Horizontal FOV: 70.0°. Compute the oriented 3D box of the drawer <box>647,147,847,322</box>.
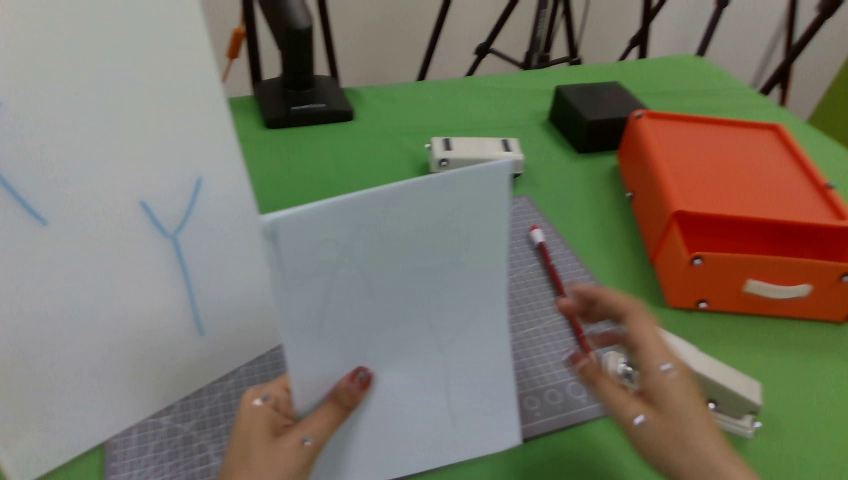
[{"bbox_3d":[0.336,-0.015,0.652,0.194,0.074,0.210,5,39,-1],"label":"drawer"}]

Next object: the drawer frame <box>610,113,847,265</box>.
[{"bbox_3d":[0.338,-0.056,0.699,0.202,0.083,0.211,4,39,-2],"label":"drawer frame"}]

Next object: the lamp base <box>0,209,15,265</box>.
[{"bbox_3d":[-0.469,-0.051,0.502,0.178,0.182,0.160,15,40,15],"label":"lamp base"}]

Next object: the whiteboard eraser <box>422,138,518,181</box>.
[{"bbox_3d":[0.056,-0.099,0.745,0.113,0.042,0.055,1,41,-7],"label":"whiteboard eraser"}]

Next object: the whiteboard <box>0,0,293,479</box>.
[{"bbox_3d":[-0.259,-0.024,0.446,0.217,0.308,0.142,-28,31,-33],"label":"whiteboard"}]

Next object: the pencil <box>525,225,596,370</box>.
[{"bbox_3d":[0.132,0.050,0.595,0.012,0.012,0.192,-3,42,-11],"label":"pencil"}]

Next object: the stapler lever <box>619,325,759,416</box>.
[{"bbox_3d":[0.217,0.104,0.492,0.118,0.040,0.026,19,45,8],"label":"stapler lever"}]

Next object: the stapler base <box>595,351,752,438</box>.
[{"bbox_3d":[0.212,0.123,0.509,0.130,0.024,0.041,18,45,9],"label":"stapler base"}]
